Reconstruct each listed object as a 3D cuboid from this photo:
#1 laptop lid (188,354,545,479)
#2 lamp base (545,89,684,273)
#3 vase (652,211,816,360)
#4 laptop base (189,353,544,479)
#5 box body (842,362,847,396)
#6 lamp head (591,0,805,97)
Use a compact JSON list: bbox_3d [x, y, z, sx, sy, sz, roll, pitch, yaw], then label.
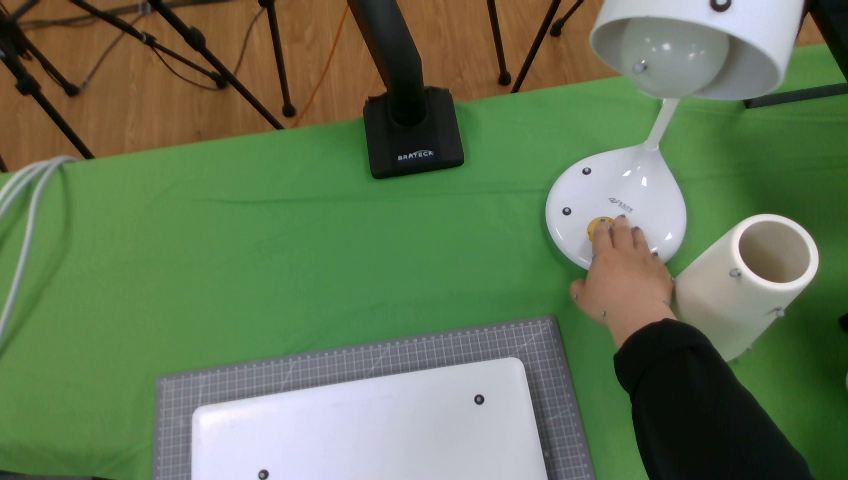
[{"bbox_3d":[-0.058,0.248,0.591,0.357,0.013,0.239,-7,67,1],"label":"laptop lid"},{"bbox_3d":[0.223,-0.079,0.646,0.160,0.181,0.178,23,66,14],"label":"lamp base"},{"bbox_3d":[0.286,0.046,0.575,0.098,0.201,0.097,-2,64,5],"label":"vase"},{"bbox_3d":[-0.057,0.251,0.603,0.354,0.023,0.233,-8,69,0],"label":"laptop base"},{"bbox_3d":[0.556,0.235,0.493,0.254,0.161,0.361,-7,65,1],"label":"box body"},{"bbox_3d":[0.170,-0.158,0.356,0.112,0.113,0.122,20,86,13],"label":"lamp head"}]
